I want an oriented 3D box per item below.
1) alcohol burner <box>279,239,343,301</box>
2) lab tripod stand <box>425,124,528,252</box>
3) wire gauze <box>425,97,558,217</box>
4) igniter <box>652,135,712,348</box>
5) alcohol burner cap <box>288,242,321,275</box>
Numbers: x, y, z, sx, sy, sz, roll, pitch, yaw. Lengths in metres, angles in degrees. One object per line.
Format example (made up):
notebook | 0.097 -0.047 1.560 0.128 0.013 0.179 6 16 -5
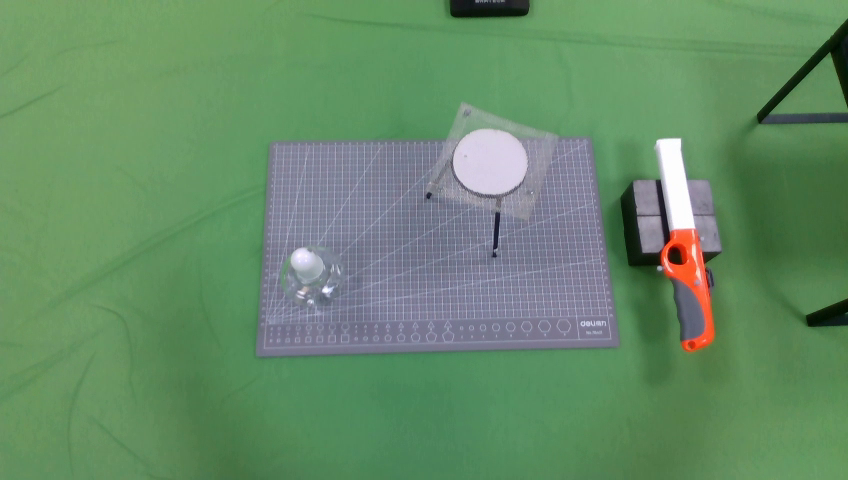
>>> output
alcohol burner | -0.136 0.031 0.719 0.078 0.119 0.077 1 72 -3
lab tripod stand | 0.075 -0.075 0.753 0.148 0.132 0.147 1 68 -1
wire gauze | 0.079 -0.095 0.688 0.121 0.011 0.124 21 70 5
igniter | 0.315 -0.004 0.746 0.057 0.025 0.274 -2 70 4
alcohol burner cap | -0.137 0.019 0.685 0.034 0.048 0.033 0 72 1
